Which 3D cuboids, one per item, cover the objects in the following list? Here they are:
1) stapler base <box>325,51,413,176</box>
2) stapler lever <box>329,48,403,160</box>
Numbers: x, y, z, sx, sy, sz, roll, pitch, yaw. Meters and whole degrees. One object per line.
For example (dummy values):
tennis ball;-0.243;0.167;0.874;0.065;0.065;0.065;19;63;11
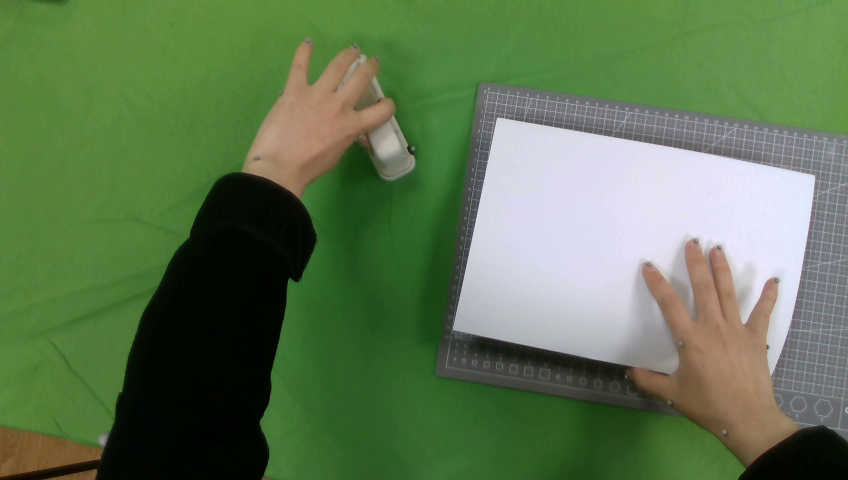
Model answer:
stapler base;-0.055;-0.128;0.604;0.041;0.024;0.130;-27;86;-5
stapler lever;-0.056;-0.131;0.580;0.027;0.040;0.118;-27;88;-5
